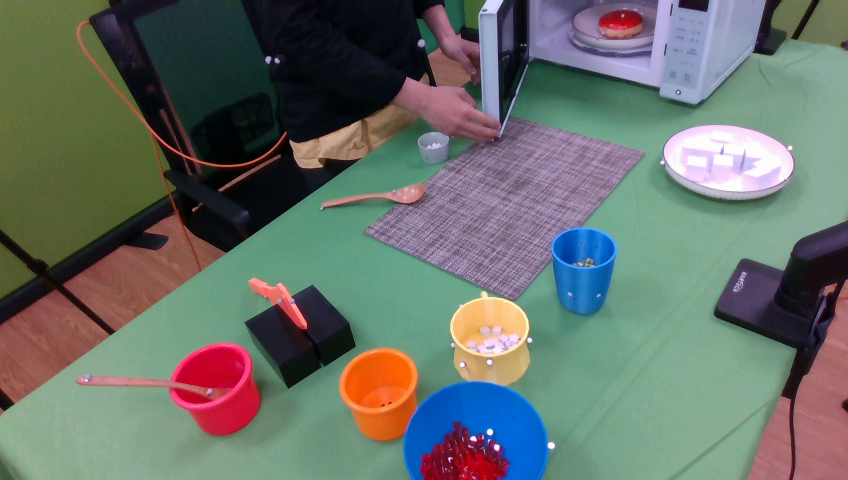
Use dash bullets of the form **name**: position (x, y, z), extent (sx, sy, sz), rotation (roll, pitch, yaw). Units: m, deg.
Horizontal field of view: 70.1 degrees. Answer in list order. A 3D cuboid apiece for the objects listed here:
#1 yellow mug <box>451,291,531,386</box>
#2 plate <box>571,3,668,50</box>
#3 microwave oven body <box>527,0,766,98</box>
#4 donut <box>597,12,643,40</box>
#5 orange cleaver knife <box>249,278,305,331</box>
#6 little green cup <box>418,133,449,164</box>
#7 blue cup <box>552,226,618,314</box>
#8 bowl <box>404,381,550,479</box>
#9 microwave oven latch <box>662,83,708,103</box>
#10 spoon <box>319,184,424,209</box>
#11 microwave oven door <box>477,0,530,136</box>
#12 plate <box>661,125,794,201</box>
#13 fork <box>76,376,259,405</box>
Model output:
- **yellow mug**: position (0.085, 0.120, 0.786), extent (0.100, 0.064, 0.130), rotation (-7, 39, 1)
- **plate**: position (0.436, -0.476, 1.357), extent (0.209, 0.038, 0.208), rotation (-5, 41, 5)
- **microwave oven body**: position (0.472, -0.513, 1.317), extent (0.438, 0.261, 0.327), rotation (26, 51, 34)
- **donut**: position (0.436, -0.478, 1.346), extent (0.099, 0.048, 0.098), rotation (-6, 34, 5)
- **orange cleaver knife**: position (-0.210, 0.088, 0.856), extent (0.012, 0.077, 0.210), rotation (-28, 15, -25)
- **little green cup**: position (0.019, -0.176, 1.169), extent (0.061, 0.039, 0.061), rotation (-2, 39, 2)
- **blue cup**: position (0.218, 0.047, 0.826), extent (0.092, 0.100, 0.092), rotation (-6, 40, 5)
- **bowl**: position (0.058, 0.235, 0.645), extent (0.151, 0.077, 0.150), rotation (-4, 39, 4)
- **microwave oven latch**: position (0.518, -0.296, 1.204), extent (0.078, 0.029, 0.030), rotation (28, 52, 35)
- **spoon**: position (-0.094, -0.075, 1.074), extent (0.193, 0.022, 0.041), rotation (-5, 56, 5)
- **microwave oven door**: position (0.168, -0.408, 1.232), extent (0.039, 0.245, 0.355), rotation (7, 42, 16)
- **plate**: position (0.513, -0.128, 1.035), extent (0.207, 0.039, 0.206), rotation (-4, 40, 4)
- **fork**: position (-0.295, 0.176, 0.716), extent (0.209, 0.018, 0.028), rotation (19, 27, -36)
